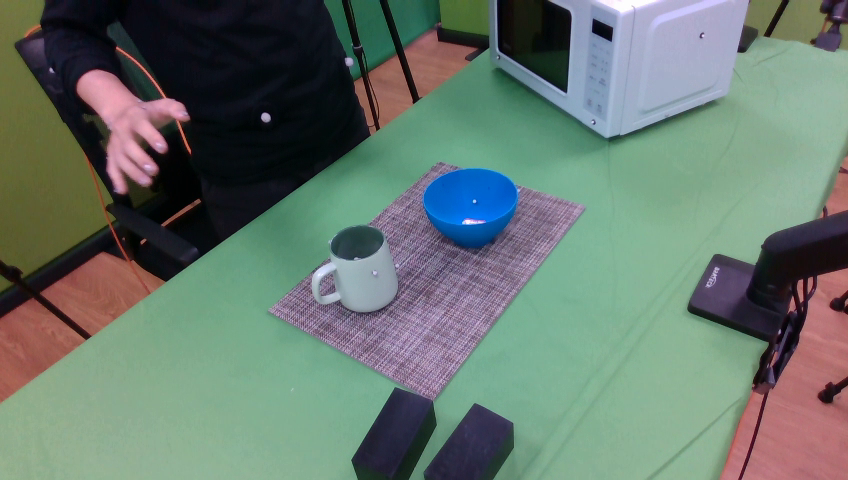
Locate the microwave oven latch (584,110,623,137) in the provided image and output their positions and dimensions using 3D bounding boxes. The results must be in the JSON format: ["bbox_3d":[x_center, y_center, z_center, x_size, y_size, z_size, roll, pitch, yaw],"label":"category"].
[{"bbox_3d":[0.337,-0.222,1.142,0.030,0.029,0.078,-21,42,-14],"label":"microwave oven latch"}]

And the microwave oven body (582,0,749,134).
[{"bbox_3d":[0.382,-0.444,1.246,0.327,0.261,0.437,-22,42,-16],"label":"microwave oven body"}]

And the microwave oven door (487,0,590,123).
[{"bbox_3d":[0.232,-0.420,1.230,0.039,0.245,0.352,-22,42,-16],"label":"microwave oven door"}]

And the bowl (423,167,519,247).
[{"bbox_3d":[0.075,-0.041,0.958,0.151,0.077,0.150,-4,40,4],"label":"bowl"}]

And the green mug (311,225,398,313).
[{"bbox_3d":[-0.101,0.050,0.857,0.126,0.105,0.091,-28,45,-23],"label":"green mug"}]
